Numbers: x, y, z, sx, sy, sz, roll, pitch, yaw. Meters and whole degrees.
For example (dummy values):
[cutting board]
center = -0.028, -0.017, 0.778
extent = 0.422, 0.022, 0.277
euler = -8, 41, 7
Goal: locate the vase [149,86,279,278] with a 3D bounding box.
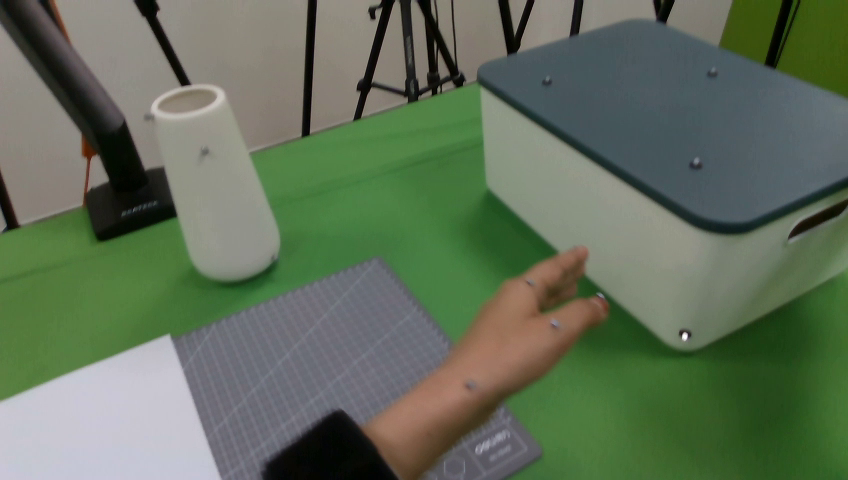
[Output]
[vase]
center = -0.220, -0.056, 0.637
extent = 0.098, 0.202, 0.097
euler = -4, 38, 3

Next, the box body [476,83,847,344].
[box body]
center = 0.249, -0.083, 0.656
extent = 0.254, 0.162, 0.360
euler = -21, 41, -19

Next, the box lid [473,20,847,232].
[box lid]
center = 0.244, -0.140, 0.607
extent = 0.264, 0.015, 0.367
euler = -21, 42, -19

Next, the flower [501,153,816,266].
[flower]
center = 0.258, -0.036, 0.706
extent = 0.359, 0.038, 0.044
euler = 22, 41, 23

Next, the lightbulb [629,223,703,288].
[lightbulb]
center = 0.240, 0.009, 0.619
extent = 0.059, 0.060, 0.107
euler = -7, 22, -3
